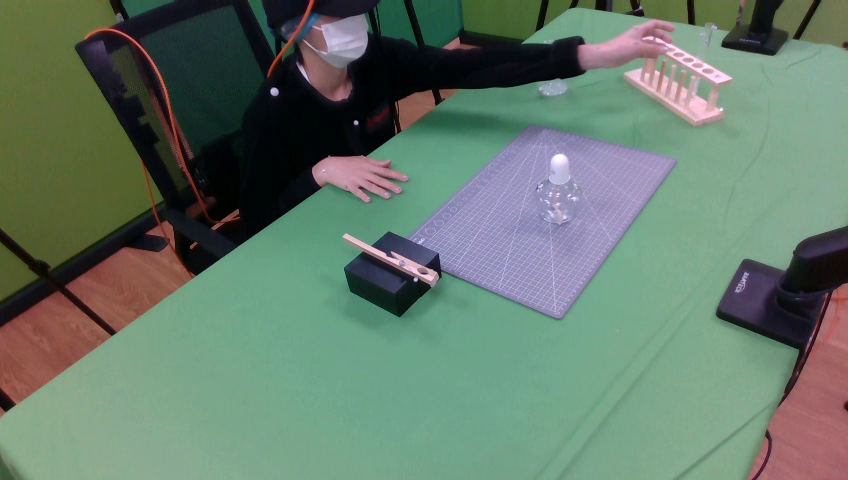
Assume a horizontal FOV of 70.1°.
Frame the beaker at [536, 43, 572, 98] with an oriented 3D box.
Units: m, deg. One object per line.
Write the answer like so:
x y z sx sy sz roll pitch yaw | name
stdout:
0.281 -0.368 1.311 0.074 0.101 0.084 4 41 14 | beaker

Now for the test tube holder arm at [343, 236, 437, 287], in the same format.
-0.053 0.029 0.879 0.177 0.015 0.013 22 57 32 | test tube holder arm

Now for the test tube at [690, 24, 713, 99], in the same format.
0.534 -0.342 1.172 0.017 0.151 0.017 -3 41 3 | test tube

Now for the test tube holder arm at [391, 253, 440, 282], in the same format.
-0.015 0.039 0.858 0.087 0.015 0.010 22 57 32 | test tube holder arm

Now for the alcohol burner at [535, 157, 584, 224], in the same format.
0.217 -0.085 0.967 0.078 0.119 0.077 -3 41 3 | alcohol burner

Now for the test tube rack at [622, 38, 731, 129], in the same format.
0.506 -0.325 1.234 0.067 0.085 0.240 -18 41 -11 | test tube rack

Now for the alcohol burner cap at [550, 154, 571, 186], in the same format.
0.212 -0.112 0.944 0.034 0.048 0.033 -6 44 7 | alcohol burner cap
